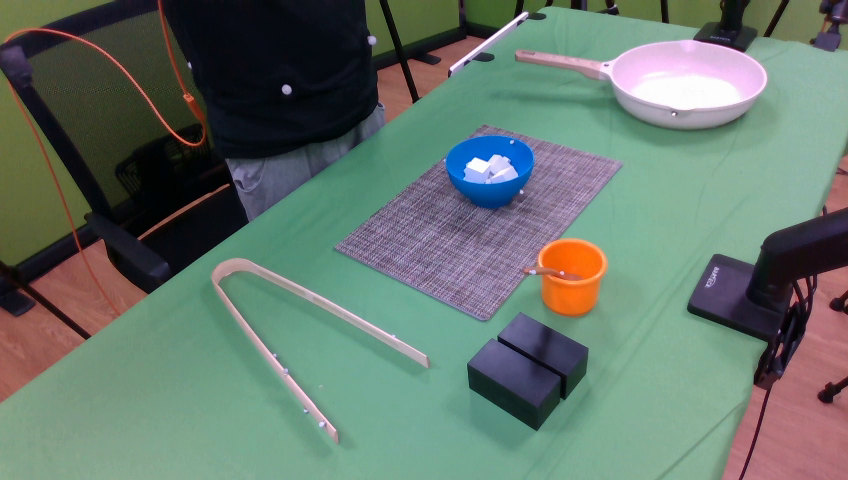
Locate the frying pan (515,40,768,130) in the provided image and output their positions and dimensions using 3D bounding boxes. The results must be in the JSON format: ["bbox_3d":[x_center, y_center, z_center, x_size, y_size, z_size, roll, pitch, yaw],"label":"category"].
[{"bbox_3d":[0.423,-0.337,1.236,0.486,0.103,0.307,16,44,13],"label":"frying pan"}]

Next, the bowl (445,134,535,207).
[{"bbox_3d":[0.113,-0.109,1.029,0.151,0.077,0.150,-4,41,4],"label":"bowl"}]

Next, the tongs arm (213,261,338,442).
[{"bbox_3d":[-0.208,0.136,0.830,0.051,0.026,0.381,-31,45,-28],"label":"tongs arm"}]

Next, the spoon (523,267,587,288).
[{"bbox_3d":[0.170,0.046,0.793,0.041,0.195,0.021,20,92,33],"label":"spoon"}]

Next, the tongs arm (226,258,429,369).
[{"bbox_3d":[-0.150,0.098,0.873,0.384,0.028,0.028,22,50,30],"label":"tongs arm"}]
